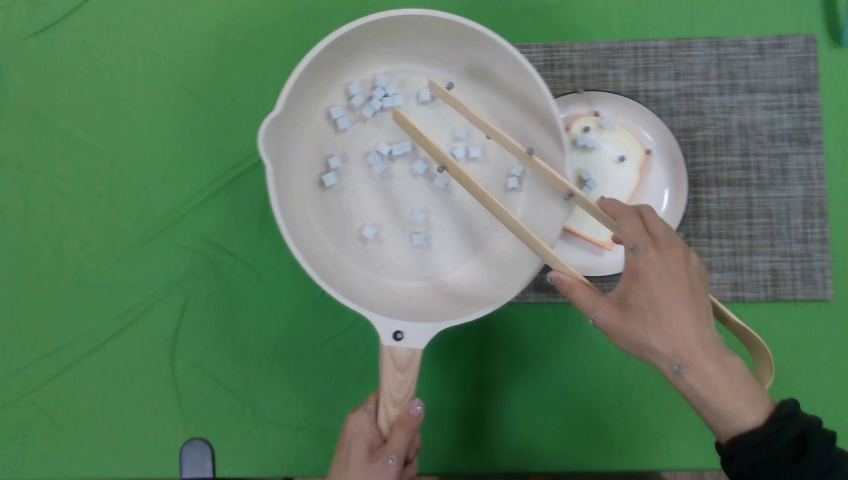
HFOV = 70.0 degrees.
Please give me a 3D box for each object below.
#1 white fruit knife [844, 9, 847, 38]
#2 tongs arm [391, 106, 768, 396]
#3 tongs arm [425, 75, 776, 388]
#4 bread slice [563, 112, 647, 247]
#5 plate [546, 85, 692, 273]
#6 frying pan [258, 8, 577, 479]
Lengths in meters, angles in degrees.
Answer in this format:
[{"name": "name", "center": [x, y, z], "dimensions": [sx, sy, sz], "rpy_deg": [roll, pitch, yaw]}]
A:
[{"name": "white fruit knife", "center": [0.476, -0.329, 0.656], "dimensions": [0.016, 0.027, 0.208], "rpy_deg": [0, 100, 4]}, {"name": "tongs arm", "center": [0.118, 0.006, 0.517], "dimensions": [0.386, 0.028, 0.028], "rpy_deg": [40, 73, 9]}, {"name": "tongs arm", "center": [0.137, -0.014, 0.523], "dimensions": [0.383, 0.026, 0.050], "rpy_deg": [38, 76, 9]}, {"name": "bread slice", "center": [0.184, -0.074, 0.677], "dimensions": [0.107, 0.018, 0.134], "rpy_deg": [22, 90, 4]}, {"name": "plate", "center": [0.186, -0.066, 0.675], "dimensions": [0.207, 0.039, 0.207], "rpy_deg": [0, 86, 4]}, {"name": "frying pan", "center": [-0.015, 0.036, 0.568], "dimensions": [0.308, 0.102, 0.486], "rpy_deg": [10, 81, -16]}]
